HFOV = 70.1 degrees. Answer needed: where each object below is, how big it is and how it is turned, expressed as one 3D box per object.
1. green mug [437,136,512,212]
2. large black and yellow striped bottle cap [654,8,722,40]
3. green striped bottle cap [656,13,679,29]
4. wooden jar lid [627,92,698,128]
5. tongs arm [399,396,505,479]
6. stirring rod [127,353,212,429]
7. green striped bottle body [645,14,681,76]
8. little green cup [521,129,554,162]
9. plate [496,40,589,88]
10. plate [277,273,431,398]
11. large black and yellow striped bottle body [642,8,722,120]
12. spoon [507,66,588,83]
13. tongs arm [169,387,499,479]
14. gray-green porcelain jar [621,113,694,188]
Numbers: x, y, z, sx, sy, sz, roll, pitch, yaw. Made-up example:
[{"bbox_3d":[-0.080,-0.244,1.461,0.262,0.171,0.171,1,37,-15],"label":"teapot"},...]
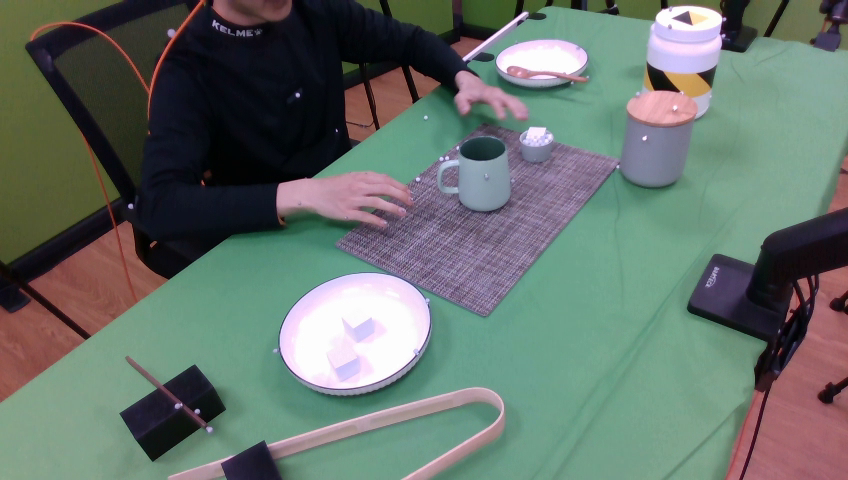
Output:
[{"bbox_3d":[0.084,-0.107,1.013,0.125,0.105,0.092,-9,41,-2],"label":"green mug"},{"bbox_3d":[0.483,-0.397,1.108,0.115,0.019,0.114,-3,41,3],"label":"large black and yellow striped bottle cap"},{"bbox_3d":[0.515,-0.463,1.278,0.044,0.020,0.044,-6,42,6],"label":"green striped bottle cap"},{"bbox_3d":[0.384,-0.207,0.980,0.108,0.021,0.108,-6,39,5],"label":"wooden jar lid"},{"bbox_3d":[-0.071,0.272,0.651,0.386,0.026,0.050,-21,37,-17],"label":"tongs arm"},{"bbox_3d":[-0.311,0.180,0.731,0.175,0.014,0.006,25,53,31],"label":"stirring rod"},{"bbox_3d":[0.520,-0.424,1.312,0.063,0.120,0.063,-4,41,4],"label":"green striped bottle body"},{"bbox_3d":[0.211,-0.174,1.124,0.061,0.039,0.061,-4,42,4],"label":"little green cup"},{"bbox_3d":[0.268,-0.398,1.381,0.209,0.038,0.208,-4,41,4],"label":"plate"},{"bbox_3d":[-0.091,0.129,0.821,0.207,0.039,0.206,-4,41,4],"label":"plate"},{"bbox_3d":[0.493,-0.334,1.161,0.131,0.185,0.130,-4,41,4],"label":"large black and yellow striped bottle body"},{"bbox_3d":[0.265,-0.357,1.311,0.192,0.022,0.042,18,47,38],"label":"spoon"},{"bbox_3d":[-0.099,0.230,0.711,0.388,0.028,0.028,-13,32,-7],"label":"tongs arm"},{"bbox_3d":[0.390,-0.161,1.020,0.106,0.127,0.105,-4,41,4],"label":"gray-green porcelain jar"}]
